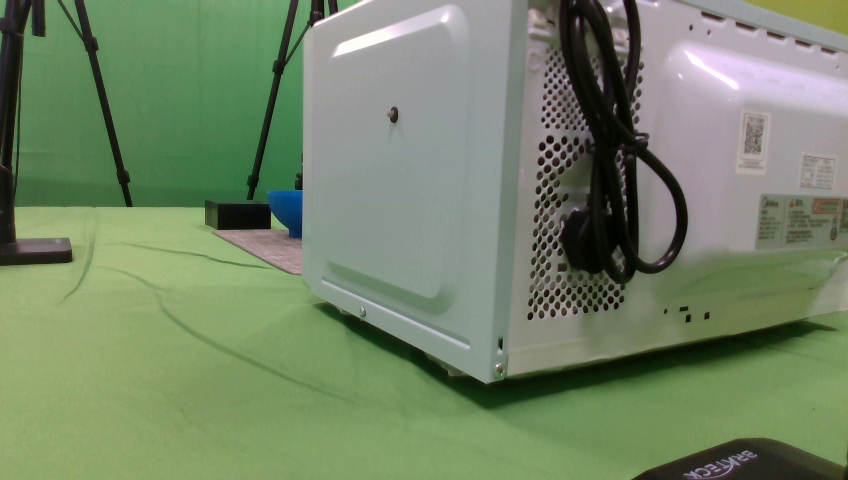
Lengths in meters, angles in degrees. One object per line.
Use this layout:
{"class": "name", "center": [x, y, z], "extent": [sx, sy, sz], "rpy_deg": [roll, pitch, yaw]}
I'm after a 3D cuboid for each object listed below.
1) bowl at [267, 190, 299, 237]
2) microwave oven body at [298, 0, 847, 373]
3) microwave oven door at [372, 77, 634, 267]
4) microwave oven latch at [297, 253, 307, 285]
{"class": "bowl", "center": [-0.202, -0.046, 1.069], "extent": [0.151, 0.077, 0.151], "rpy_deg": [3, 7, 0]}
{"class": "microwave oven body", "center": [0.151, -0.055, 0.543], "extent": [0.444, 0.260, 0.324], "rpy_deg": [-1, 7, -33]}
{"class": "microwave oven door", "center": [0.096, -0.099, 0.837], "extent": [0.355, 0.243, 0.039], "rpy_deg": [5, 8, 20]}
{"class": "microwave oven latch", "center": [-0.082, 0.027, 0.583], "extent": [0.079, 0.029, 0.030], "rpy_deg": [-1, 7, -33]}
